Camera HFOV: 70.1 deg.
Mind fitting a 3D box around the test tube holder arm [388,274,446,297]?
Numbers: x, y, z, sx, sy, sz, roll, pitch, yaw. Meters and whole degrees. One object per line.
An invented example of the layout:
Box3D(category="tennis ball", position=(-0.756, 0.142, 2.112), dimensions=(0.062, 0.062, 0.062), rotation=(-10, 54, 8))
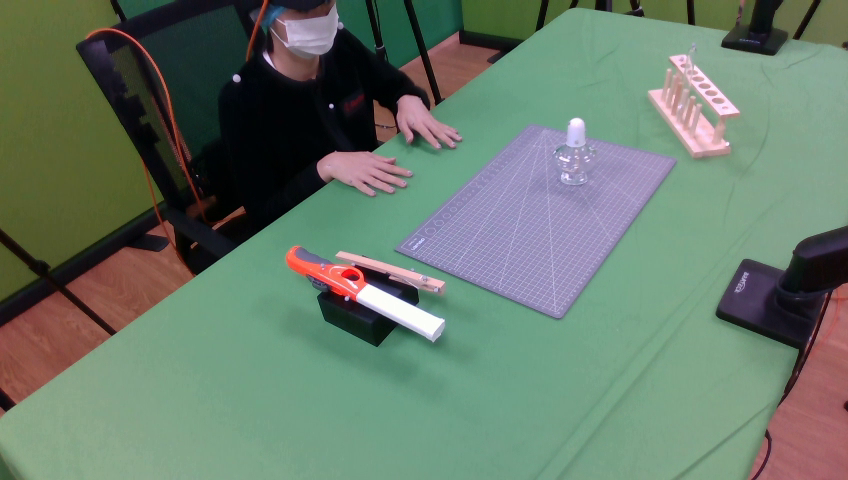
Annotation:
Box3D(category="test tube holder arm", position=(-0.011, 0.060, 0.838), dimensions=(0.087, 0.010, 0.015), rotation=(18, 39, 24))

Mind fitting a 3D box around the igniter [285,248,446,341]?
Box3D(category="igniter", position=(-0.091, 0.069, 0.831), dimensions=(0.274, 0.025, 0.057), rotation=(22, 47, 27))

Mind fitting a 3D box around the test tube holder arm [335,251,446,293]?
Box3D(category="test tube holder arm", position=(-0.050, 0.043, 0.853), dimensions=(0.177, 0.013, 0.015), rotation=(17, 39, 24))

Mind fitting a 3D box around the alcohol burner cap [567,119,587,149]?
Box3D(category="alcohol burner cap", position=(0.257, -0.180, 1.019), dimensions=(0.034, 0.048, 0.033), rotation=(-7, 35, 5))

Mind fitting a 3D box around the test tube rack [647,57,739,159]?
Box3D(category="test tube rack", position=(0.504, -0.257, 1.153), dimensions=(0.067, 0.085, 0.241), rotation=(-8, 40, 1))

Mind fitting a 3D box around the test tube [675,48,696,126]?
Box3D(category="test tube", position=(0.481, -0.279, 1.112), dimensions=(0.017, 0.151, 0.017), rotation=(-5, 40, 5))

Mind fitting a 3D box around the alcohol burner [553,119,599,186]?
Box3D(category="alcohol burner", position=(0.261, -0.153, 1.042), dimensions=(0.078, 0.119, 0.077), rotation=(-6, 40, 6))
